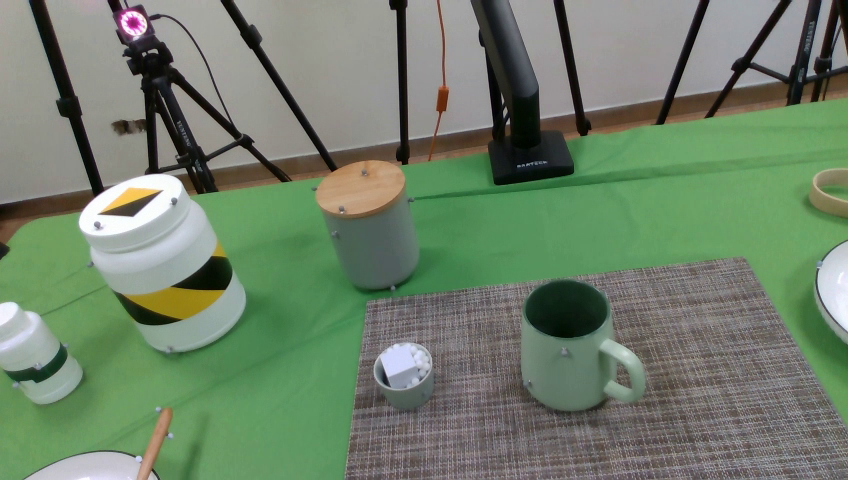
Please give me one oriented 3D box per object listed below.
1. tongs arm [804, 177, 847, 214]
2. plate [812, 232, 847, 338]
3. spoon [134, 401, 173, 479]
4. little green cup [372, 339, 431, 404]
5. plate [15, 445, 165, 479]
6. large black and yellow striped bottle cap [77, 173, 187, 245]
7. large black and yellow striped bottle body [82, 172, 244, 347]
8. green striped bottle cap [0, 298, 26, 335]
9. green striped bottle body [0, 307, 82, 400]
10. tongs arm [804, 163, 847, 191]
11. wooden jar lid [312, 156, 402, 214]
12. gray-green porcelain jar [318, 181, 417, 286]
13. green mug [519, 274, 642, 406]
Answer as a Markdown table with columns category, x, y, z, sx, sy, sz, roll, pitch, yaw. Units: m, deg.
| category | x | y | z | sx | sy | sz | roll | pitch | yaw |
| --- | --- | --- | --- | --- | --- | --- | --- | --- | --- |
| tongs arm | 0.619 | -0.005 | 0.645 | 0.384 | 0.028 | 0.028 | 21 | 58 | 34 |
| plate | 0.496 | 0.061 | 0.591 | 0.207 | 0.039 | 0.205 | -7 | 39 | 6 |
| spoon | -0.262 | 0.233 | 0.554 | 0.041 | 0.022 | 0.192 | -5 | 48 | 6 |
| little green cup | -0.021 | 0.137 | 0.625 | 0.061 | 0.039 | 0.061 | -6 | 38 | 5 |
| plate | -0.322 | 0.283 | 0.535 | 0.209 | 0.038 | 0.207 | -7 | 39 | 6 |
| large black and yellow striped bottle cap | -0.323 | -0.037 | 0.671 | 0.115 | 0.019 | 0.114 | -7 | 38 | 6 |
| large black and yellow striped bottle body | -0.308 | 0.025 | 0.725 | 0.130 | 0.186 | 0.129 | -7 | 40 | 6 |
| green striped bottle cap | -0.462 | 0.084 | 0.661 | 0.044 | 0.020 | 0.044 | -5 | 41 | 4 |
| green striped bottle body | -0.453 | 0.124 | 0.694 | 0.063 | 0.120 | 0.062 | -8 | 39 | 7 |
| tongs arm | 0.658 | -0.056 | 0.690 | 0.382 | 0.027 | 0.050 | 10 | 49 | 26 |
| wooden jar lid | -0.078 | -0.062 | 0.719 | 0.108 | 0.021 | 0.107 | -7 | 42 | 6 |
| gray-green porcelain jar | -0.067 | -0.015 | 0.757 | 0.106 | 0.128 | 0.105 | -7 | 39 | 6 |
| green mug | 0.147 | 0.103 | 0.571 | 0.124 | 0.106 | 0.092 | 27 | 53 | 38 |
